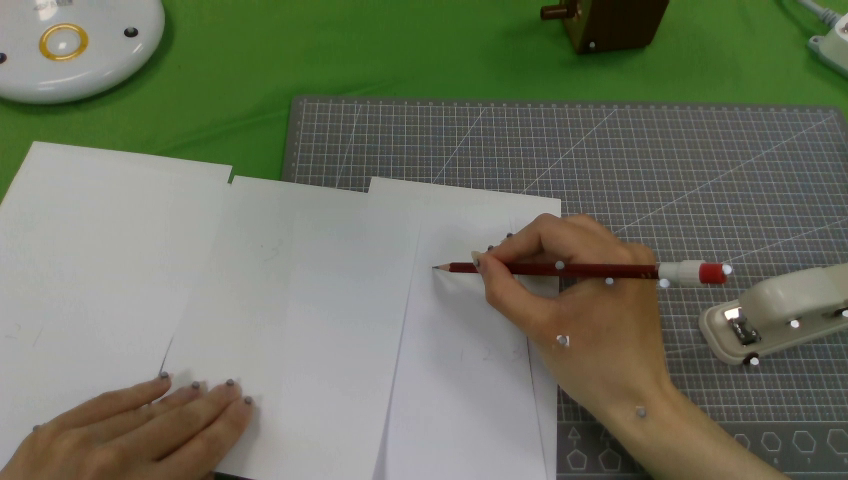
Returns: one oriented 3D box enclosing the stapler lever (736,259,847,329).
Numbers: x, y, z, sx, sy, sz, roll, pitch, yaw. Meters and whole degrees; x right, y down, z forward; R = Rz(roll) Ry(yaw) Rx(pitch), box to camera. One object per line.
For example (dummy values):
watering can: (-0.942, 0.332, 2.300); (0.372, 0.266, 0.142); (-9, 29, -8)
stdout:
stapler lever: (0.249, 0.029, 0.377); (0.118, 0.040, 0.026); (-14, 63, -11)

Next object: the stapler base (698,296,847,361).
stapler base: (0.247, 0.042, 0.398); (0.131, 0.024, 0.041); (-14, 63, -11)

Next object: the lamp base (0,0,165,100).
lamp base: (-0.303, -0.225, 0.439); (0.161, 0.182, 0.177); (-28, 63, -16)

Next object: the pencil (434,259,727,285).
pencil: (0.070, 0.017, 0.341); (0.193, 0.012, 0.012); (-3, 48, 49)

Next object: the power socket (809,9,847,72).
power socket: (0.435, -0.126, 0.495); (0.072, 0.033, 0.225); (-38, 68, -21)

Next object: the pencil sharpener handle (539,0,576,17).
pencil sharpener handle: (0.107, -0.208, 0.472); (0.031, 0.068, 0.035); (-10, 39, -6)

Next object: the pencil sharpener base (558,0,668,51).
pencil sharpener base: (0.156, -0.215, 0.492); (0.077, 0.108, 0.061); (-10, 62, -6)
